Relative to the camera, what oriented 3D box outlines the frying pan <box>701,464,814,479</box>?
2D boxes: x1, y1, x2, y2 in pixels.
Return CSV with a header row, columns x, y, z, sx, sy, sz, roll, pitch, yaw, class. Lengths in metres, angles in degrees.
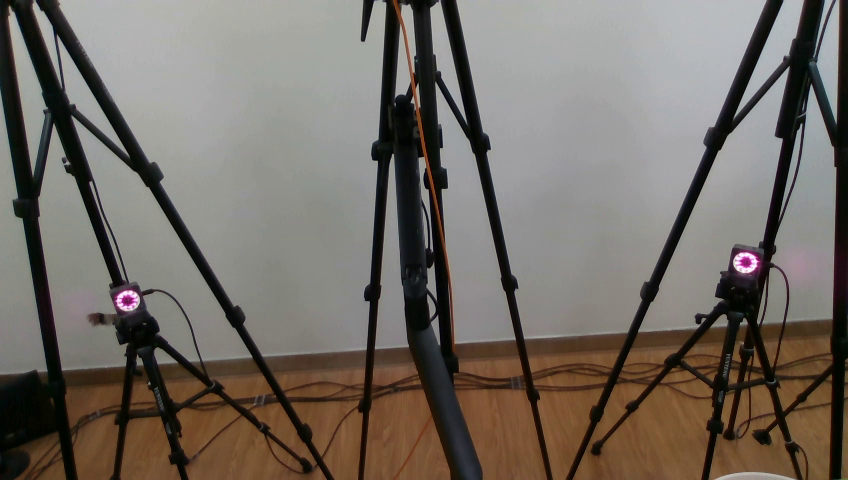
x,y,z,sx,sy,sz,roll,pitch,yaw,class
0.539,0.516,0.829,0.306,0.103,0.485,-2,20,7,frying pan
